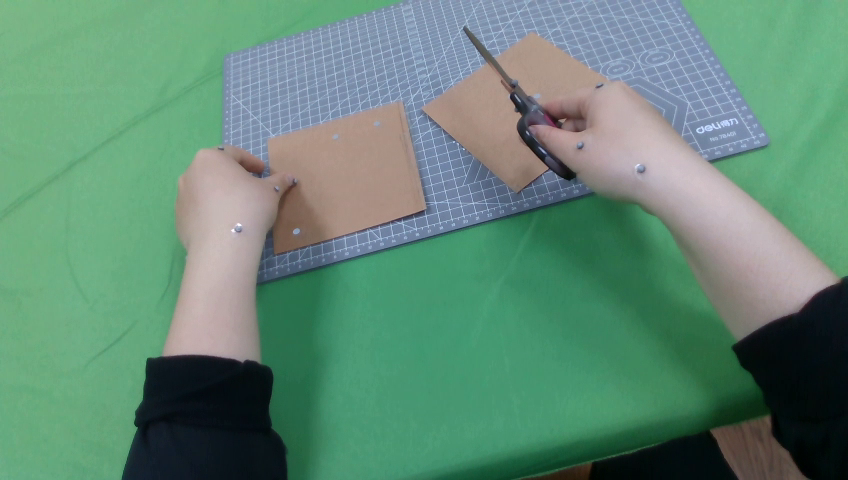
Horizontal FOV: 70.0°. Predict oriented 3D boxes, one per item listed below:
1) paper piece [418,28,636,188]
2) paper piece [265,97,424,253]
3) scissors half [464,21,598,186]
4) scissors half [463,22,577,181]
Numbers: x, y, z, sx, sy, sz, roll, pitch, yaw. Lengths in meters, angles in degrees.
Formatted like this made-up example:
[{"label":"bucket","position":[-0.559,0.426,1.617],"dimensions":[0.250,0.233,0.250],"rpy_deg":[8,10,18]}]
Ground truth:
[{"label":"paper piece","position":[0.086,-0.122,0.529],"dimensions":[0.135,0.004,0.134],"rpy_deg":[-37,58,-10]},{"label":"paper piece","position":[-0.075,-0.062,0.534],"dimensions":[0.138,0.009,0.134],"rpy_deg":[-17,52,7]},{"label":"scissors half","position":[0.077,-0.110,0.462],"dimensions":[0.013,0.040,0.174],"rpy_deg":[-46,68,32]},{"label":"scissors half","position":[0.063,-0.110,0.447],"dimensions":[0.013,0.040,0.173],"rpy_deg":[-43,52,27]}]
